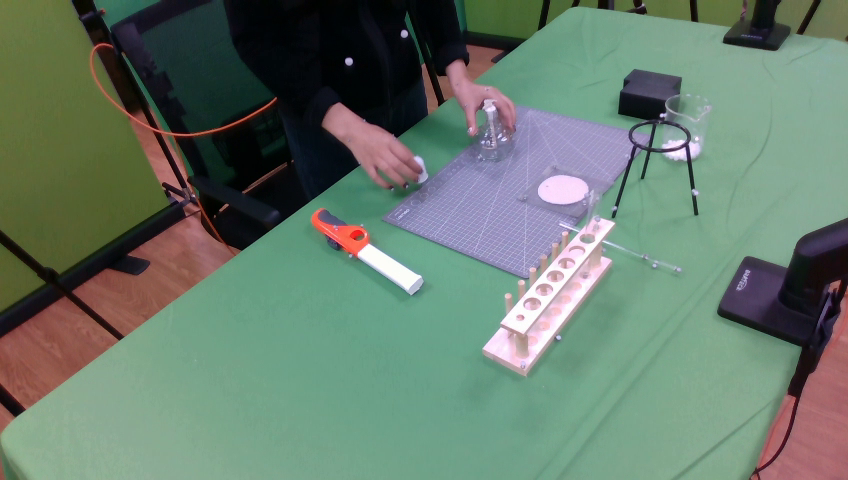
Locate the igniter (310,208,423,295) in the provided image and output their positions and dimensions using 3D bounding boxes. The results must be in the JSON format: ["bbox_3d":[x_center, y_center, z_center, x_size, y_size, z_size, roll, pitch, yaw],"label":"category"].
[{"bbox_3d":[-0.103,0.012,0.982,0.057,0.025,0.274,-42,49,-20],"label":"igniter"}]

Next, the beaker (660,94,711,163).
[{"bbox_3d":[0.457,-0.192,1.063,0.074,0.101,0.083,-7,41,4],"label":"beaker"}]

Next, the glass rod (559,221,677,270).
[{"bbox_3d":[0.292,0.007,0.927,0.198,0.008,0.008,26,52,36],"label":"glass rod"}]

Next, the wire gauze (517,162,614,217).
[{"bbox_3d":[0.245,-0.088,1.046,0.120,0.011,0.125,25,50,32],"label":"wire gauze"}]

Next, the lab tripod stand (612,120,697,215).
[{"bbox_3d":[0.369,-0.112,0.958,0.148,0.132,0.147,-4,40,4],"label":"lab tripod stand"}]

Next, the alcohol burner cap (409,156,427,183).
[{"bbox_3d":[-0.012,-0.130,1.095,0.034,0.048,0.033,-2,50,3],"label":"alcohol burner cap"}]

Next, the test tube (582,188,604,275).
[{"bbox_3d":[0.228,-0.007,0.821,0.017,0.151,0.017,-3,42,3],"label":"test tube"}]

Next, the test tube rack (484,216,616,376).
[{"bbox_3d":[0.174,0.064,0.823,0.066,0.085,0.243,23,49,32],"label":"test tube rack"}]

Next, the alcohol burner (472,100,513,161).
[{"bbox_3d":[0.127,-0.209,1.128,0.078,0.119,0.077,-5,43,5],"label":"alcohol burner"}]
